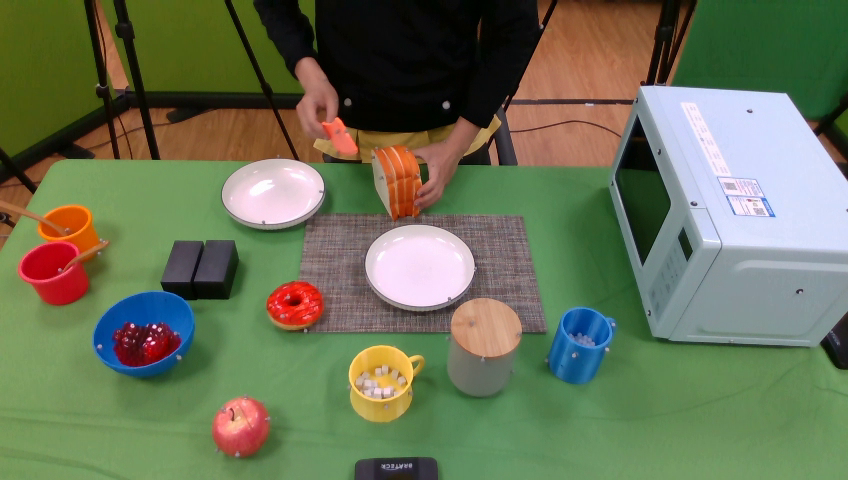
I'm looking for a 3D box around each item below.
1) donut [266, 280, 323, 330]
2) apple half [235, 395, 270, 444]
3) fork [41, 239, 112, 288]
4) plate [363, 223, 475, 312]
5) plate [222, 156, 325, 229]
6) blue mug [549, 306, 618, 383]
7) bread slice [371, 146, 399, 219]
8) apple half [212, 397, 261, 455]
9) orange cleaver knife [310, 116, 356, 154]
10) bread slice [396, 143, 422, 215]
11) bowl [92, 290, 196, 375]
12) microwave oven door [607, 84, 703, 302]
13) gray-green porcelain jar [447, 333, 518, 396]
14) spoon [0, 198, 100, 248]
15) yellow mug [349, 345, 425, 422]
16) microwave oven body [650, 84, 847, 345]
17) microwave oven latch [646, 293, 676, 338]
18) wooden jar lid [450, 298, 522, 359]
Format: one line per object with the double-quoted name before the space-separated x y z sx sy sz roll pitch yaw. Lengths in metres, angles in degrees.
"donut" -0.223 0.112 1.051 0.099 0.048 0.098 2 46 -2
"apple half" -0.245 0.259 0.893 0.033 0.082 0.081 -29 55 -22
"fork" -0.591 0.040 1.028 0.207 0.019 0.028 -27 36 29
"plate" -0.009 0.054 1.126 0.208 0.039 0.206 2 46 -2
"plate" -0.308 -0.095 1.251 0.209 0.038 0.208 2 47 -2
"blue mug" 0.269 0.167 0.997 0.116 0.106 0.082 -19 51 -21
"bread slice" -0.081 -0.124 1.226 0.018 0.135 0.106 -20 48 -13
"apple half" -0.276 0.276 0.877 0.053 0.075 0.080 -29 58 -21
"orange cleaver knife" -0.170 -0.195 1.122 0.012 0.077 0.210 -32 23 -16
"bread slice" -0.030 -0.130 1.240 0.019 0.132 0.104 -17 49 -16
"bowl" -0.436 0.161 0.971 0.151 0.077 0.150 2 46 -2
"microwave oven door" 0.424 -0.096 1.138 0.039 0.245 0.353 3 46 -1
"gray-green porcelain jar" 0.091 0.178 0.960 0.106 0.127 0.105 2 46 -2
"spoon" -0.684 -0.035 1.092 0.021 0.195 0.041 -32 42 28
"yellow mug" -0.054 0.217 0.954 0.131 0.064 0.099 -23 52 -25
"microwave oven body" 0.569 -0.054 1.116 0.326 0.261 0.439 2 46 -1
"microwave oven latch" 0.412 0.133 1.060 0.030 0.029 0.078 3 46 0
"wooden jar lid" 0.093 0.135 0.914 0.108 0.021 0.107 2 48 -3
